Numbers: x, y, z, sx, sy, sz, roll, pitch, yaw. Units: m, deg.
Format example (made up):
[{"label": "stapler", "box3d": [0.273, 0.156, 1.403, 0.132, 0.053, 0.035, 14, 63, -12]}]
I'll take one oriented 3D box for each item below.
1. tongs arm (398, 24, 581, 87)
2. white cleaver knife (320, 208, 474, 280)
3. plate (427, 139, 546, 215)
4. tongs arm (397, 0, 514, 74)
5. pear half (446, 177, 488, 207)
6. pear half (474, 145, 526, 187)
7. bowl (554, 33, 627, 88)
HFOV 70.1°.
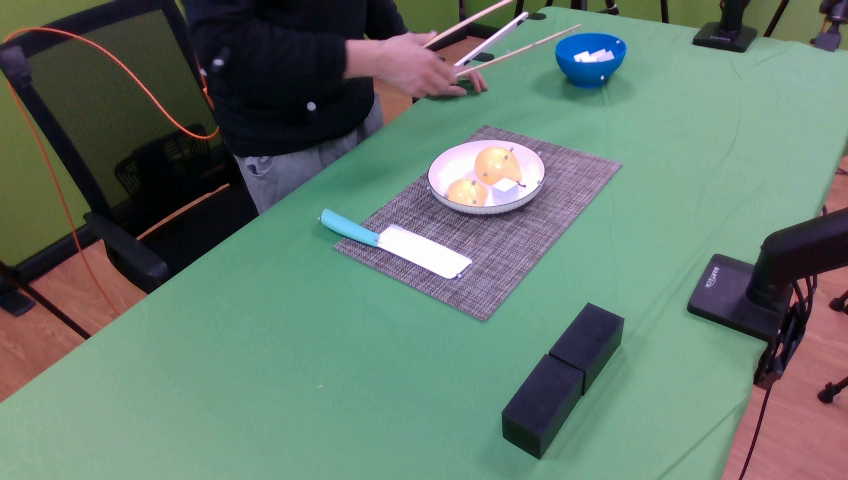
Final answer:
[{"label": "tongs arm", "box3d": [0.130, -0.351, 1.110, 0.386, 0.051, 0.026, -28, 18, -19]}, {"label": "white cleaver knife", "box3d": [-0.053, 0.001, 0.978, 0.284, 0.021, 0.066, 23, 40, 26]}, {"label": "plate", "box3d": [0.109, -0.107, 1.058, 0.207, 0.039, 0.206, -4, 41, 4]}, {"label": "tongs arm", "box3d": [0.109, -0.399, 1.095, 0.388, 0.028, 0.027, -33, 22, -17]}, {"label": "pear half", "box3d": [0.073, -0.086, 1.032, 0.070, 0.031, 0.087, -20, 36, -9]}, {"label": "pear half", "box3d": [0.140, -0.129, 1.059, 0.076, 0.056, 0.109, -37, 52, -25]}, {"label": "bowl", "box3d": [0.359, -0.384, 1.318, 0.151, 0.077, 0.150, -4, 41, 4]}]
